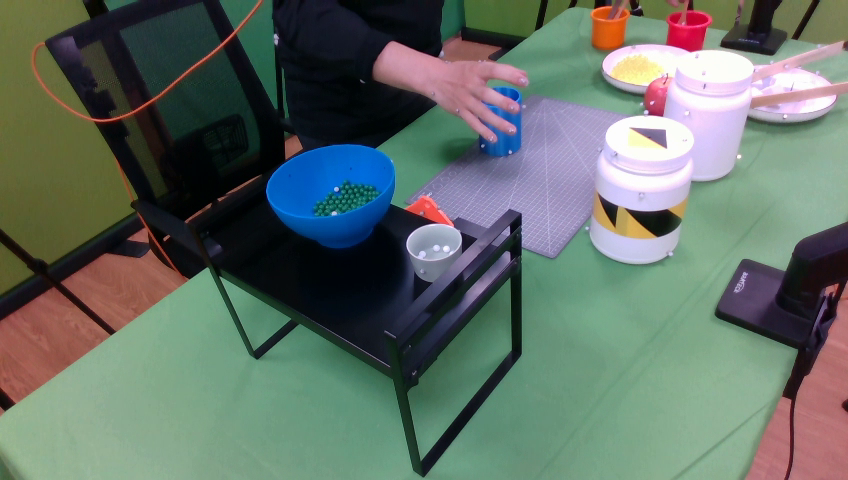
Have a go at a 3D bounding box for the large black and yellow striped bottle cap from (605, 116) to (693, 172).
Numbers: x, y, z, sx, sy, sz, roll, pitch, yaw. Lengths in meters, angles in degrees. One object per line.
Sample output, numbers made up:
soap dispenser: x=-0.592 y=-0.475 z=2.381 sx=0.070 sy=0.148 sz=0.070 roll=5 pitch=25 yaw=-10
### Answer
large black and yellow striped bottle cap: x=0.309 y=-0.134 z=0.833 sx=0.115 sy=0.019 sz=0.114 roll=-5 pitch=41 yaw=5

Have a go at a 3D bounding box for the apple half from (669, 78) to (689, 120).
apple half: x=0.498 y=-0.273 z=1.180 sx=0.032 sy=0.082 sz=0.081 roll=7 pitch=42 yaw=25

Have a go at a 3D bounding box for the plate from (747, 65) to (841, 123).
plate: x=0.694 y=-0.282 z=1.189 sx=0.207 sy=0.039 sz=0.206 roll=-4 pitch=40 yaw=4

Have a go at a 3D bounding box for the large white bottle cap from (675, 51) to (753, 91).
large white bottle cap: x=0.463 y=-0.272 z=0.967 sx=0.115 sy=0.018 sz=0.114 roll=-4 pitch=40 yaw=4

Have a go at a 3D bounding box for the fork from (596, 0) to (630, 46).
fork: x=0.481 y=-0.556 z=1.452 sx=0.028 sy=0.019 sz=0.207 roll=41 pitch=103 yaw=41

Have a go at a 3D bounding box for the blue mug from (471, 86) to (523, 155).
blue mug: x=0.135 y=-0.235 z=1.163 sx=0.082 sy=0.106 sz=0.115 roll=-36 pitch=48 yaw=-28

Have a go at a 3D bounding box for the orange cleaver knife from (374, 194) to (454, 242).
orange cleaver knife: x=-0.032 y=-0.026 z=0.964 sx=0.210 sy=0.077 sz=0.012 roll=-10 pitch=29 yaw=51

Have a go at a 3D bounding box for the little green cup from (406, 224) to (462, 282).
little green cup: x=0.012 y=0.015 z=0.668 sx=0.061 sy=0.039 sz=0.061 roll=-4 pitch=40 yaw=4

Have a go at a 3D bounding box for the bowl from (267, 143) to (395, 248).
bowl: x=-0.104 y=-0.043 z=0.726 sx=0.151 sy=0.077 sz=0.150 roll=-4 pitch=41 yaw=4

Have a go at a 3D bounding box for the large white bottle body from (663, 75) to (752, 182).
large white bottle body: x=0.472 y=-0.207 z=1.022 sx=0.130 sy=0.185 sz=0.130 roll=-4 pitch=41 yaw=4

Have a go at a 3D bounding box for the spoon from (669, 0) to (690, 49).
spoon: x=0.601 y=-0.533 z=1.380 sx=0.041 sy=0.194 sz=0.022 roll=20 pitch=23 yaw=30

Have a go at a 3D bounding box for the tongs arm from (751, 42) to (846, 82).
tongs arm: x=0.708 y=-0.331 z=1.194 sx=0.386 sy=0.026 sz=0.050 roll=-18 pitch=45 yaw=-16

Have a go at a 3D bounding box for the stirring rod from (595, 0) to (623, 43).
stirring rod: x=0.460 y=-0.556 z=1.460 sx=0.014 sy=0.006 sz=0.176 roll=30 pitch=94 yaw=23

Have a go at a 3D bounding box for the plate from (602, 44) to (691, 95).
plate: x=0.494 y=-0.367 z=1.317 sx=0.209 sy=0.038 sz=0.208 roll=-4 pitch=40 yaw=4

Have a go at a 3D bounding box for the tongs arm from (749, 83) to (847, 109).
tongs arm: x=0.734 y=-0.280 z=1.133 sx=0.388 sy=0.028 sz=0.028 roll=-9 pitch=47 yaw=-5

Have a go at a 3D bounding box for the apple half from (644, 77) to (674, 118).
apple half: x=0.463 y=-0.279 z=1.194 sx=0.053 sy=0.075 sz=0.081 roll=8 pitch=46 yaw=24

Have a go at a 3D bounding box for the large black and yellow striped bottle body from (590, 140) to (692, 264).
large black and yellow striped bottle body: x=0.317 y=-0.071 z=0.889 sx=0.131 sy=0.185 sz=0.130 roll=-4 pitch=41 yaw=4
